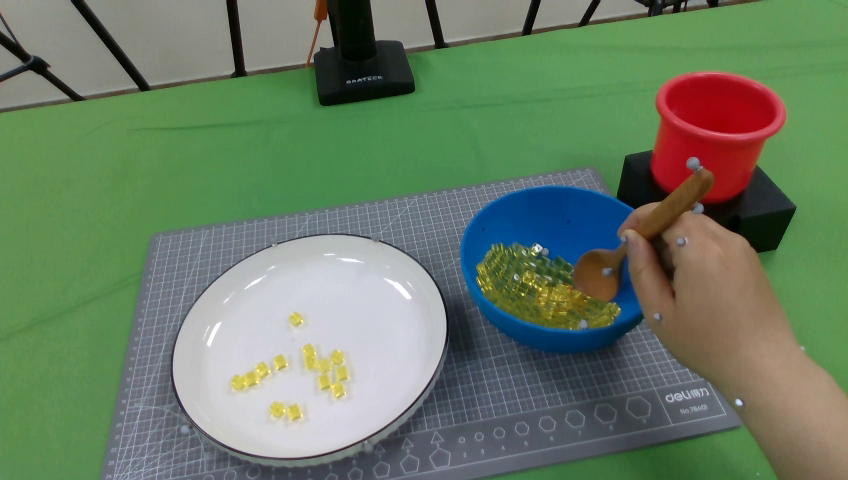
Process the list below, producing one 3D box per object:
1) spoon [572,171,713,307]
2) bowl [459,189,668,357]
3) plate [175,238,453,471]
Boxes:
[{"bbox_3d":[0.136,0.006,0.398,0.021,0.195,0.041,-23,73,-10],"label":"spoon"},{"bbox_3d":[0.103,0.037,0.471,0.151,0.077,0.150,-2,45,3],"label":"bowl"},{"bbox_3d":[-0.081,0.083,0.471,0.207,0.039,0.205,-2,45,3],"label":"plate"}]
